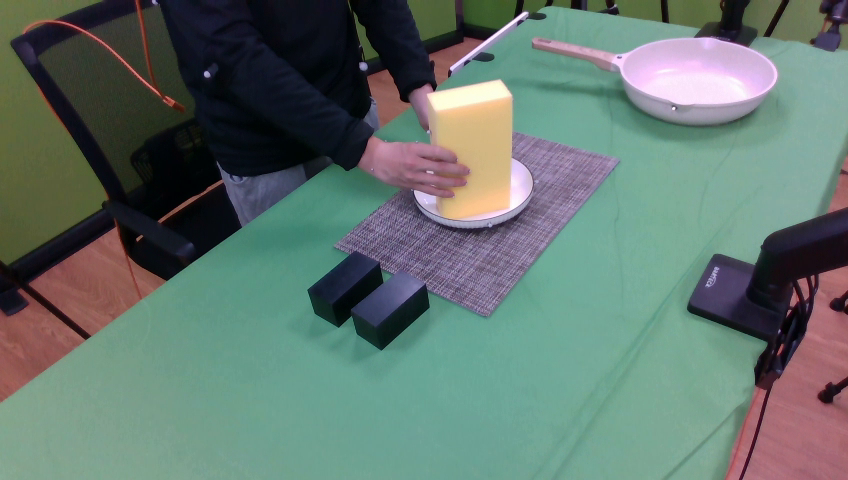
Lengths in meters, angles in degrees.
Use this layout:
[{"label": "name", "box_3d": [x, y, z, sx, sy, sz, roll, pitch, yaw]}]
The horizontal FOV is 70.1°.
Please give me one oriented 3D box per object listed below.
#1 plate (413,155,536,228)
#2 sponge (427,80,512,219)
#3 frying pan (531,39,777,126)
[{"label": "plate", "box_3d": [0.086, -0.085, 1.038, 0.207, 0.039, 0.206, -4, 41, 4]}, {"label": "sponge", "box_3d": [0.074, -0.136, 0.957, 0.118, 0.208, 0.060, -12, 41, -7]}, {"label": "frying pan", "box_3d": [0.452, -0.353, 1.253, 0.485, 0.103, 0.307, 22, 47, 19]}]
